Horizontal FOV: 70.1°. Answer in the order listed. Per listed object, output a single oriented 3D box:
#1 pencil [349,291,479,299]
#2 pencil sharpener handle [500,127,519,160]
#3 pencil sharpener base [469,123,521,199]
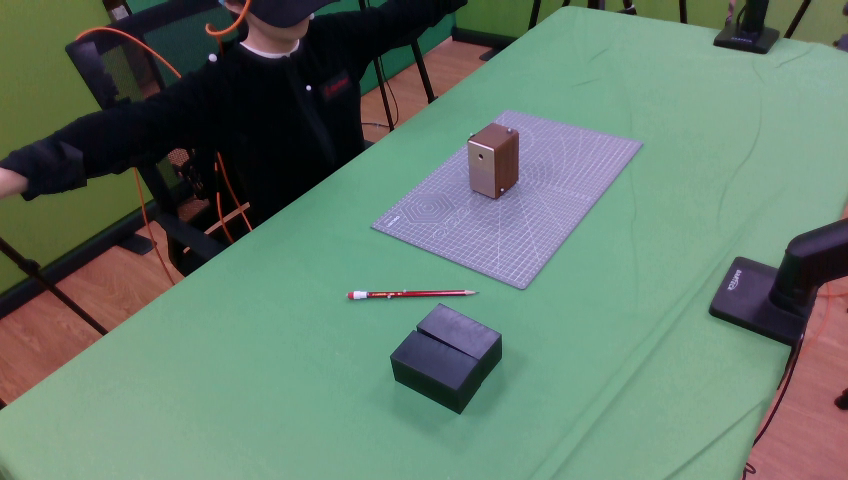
[{"bbox_3d":[-0.015,0.081,0.894,0.194,0.012,0.012,-1,41,6],"label":"pencil"},{"bbox_3d":[0.157,-0.175,1.069,0.035,0.068,0.031,31,53,29],"label":"pencil sharpener handle"},{"bbox_3d":[0.126,-0.138,1.049,0.061,0.107,0.077,26,50,34],"label":"pencil sharpener base"}]
